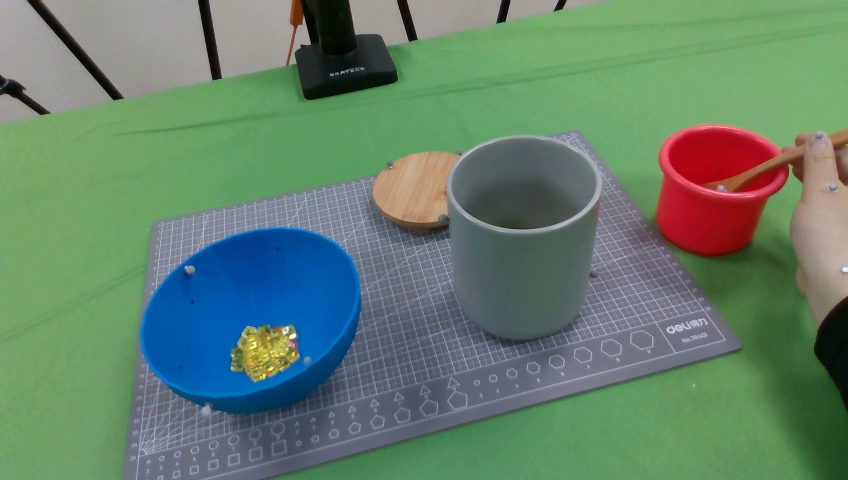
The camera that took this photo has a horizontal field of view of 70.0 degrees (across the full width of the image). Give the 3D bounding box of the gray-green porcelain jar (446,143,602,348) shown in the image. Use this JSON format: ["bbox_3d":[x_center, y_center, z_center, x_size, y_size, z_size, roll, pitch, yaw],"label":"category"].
[{"bbox_3d":[0.072,0.010,0.451,0.106,0.128,0.105,-4,44,4],"label":"gray-green porcelain jar"}]

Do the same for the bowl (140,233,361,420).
[{"bbox_3d":[-0.115,0.074,0.443,0.151,0.077,0.150,-3,44,4],"label":"bowl"}]

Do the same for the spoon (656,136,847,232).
[{"bbox_3d":[0.276,-0.050,0.480,0.193,0.022,0.041,-31,29,45],"label":"spoon"}]

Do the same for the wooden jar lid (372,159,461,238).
[{"bbox_3d":[0.005,-0.039,0.588,0.108,0.021,0.107,-4,43,4],"label":"wooden jar lid"}]
